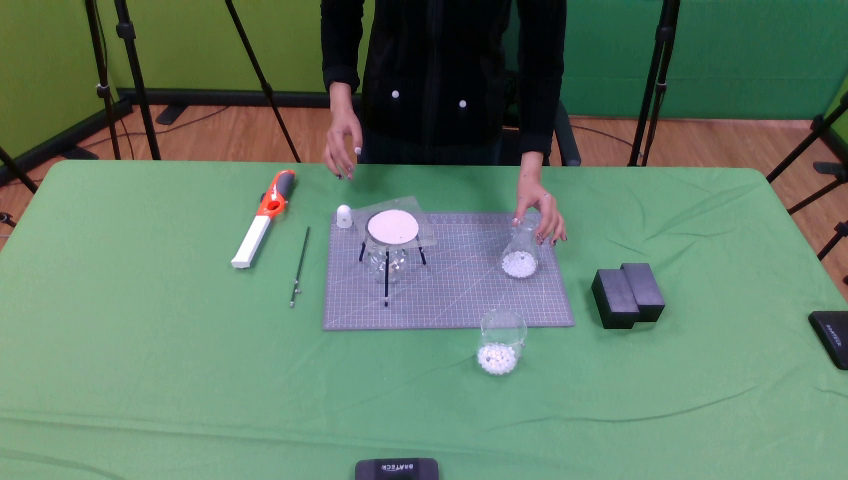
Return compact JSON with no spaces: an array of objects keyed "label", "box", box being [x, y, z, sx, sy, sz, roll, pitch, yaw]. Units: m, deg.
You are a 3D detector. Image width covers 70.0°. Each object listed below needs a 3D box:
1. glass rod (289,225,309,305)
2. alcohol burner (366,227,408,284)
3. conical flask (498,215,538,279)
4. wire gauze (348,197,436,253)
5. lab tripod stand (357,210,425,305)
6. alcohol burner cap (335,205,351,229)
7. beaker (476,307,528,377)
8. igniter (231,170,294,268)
[{"label":"glass rod","box":[-0.235,0.042,1.149,0.008,0.008,0.198,3,47,-1]},{"label":"alcohol burner","box":[-0.068,0.024,1.104,0.078,0.120,0.077,1,46,-1]},{"label":"conical flask","box":[0.183,0.010,1.131,0.075,0.122,0.075,2,46,-2]},{"label":"wire gauze","box":[-0.056,-0.026,1.045,0.125,0.011,0.120,-11,47,-17]},{"label":"lab tripod stand","box":[-0.060,0.020,1.094,0.148,0.132,0.147,3,44,-2]},{"label":"alcohol burner cap","box":[-0.164,-0.049,1.216,0.034,0.048,0.033,2,45,-1]},{"label":"beaker","box":[0.122,0.171,0.991,0.084,0.101,0.073,-34,56,-31]},{"label":"igniter","box":[-0.321,-0.051,1.220,0.057,0.025,0.275,2,45,12]}]
